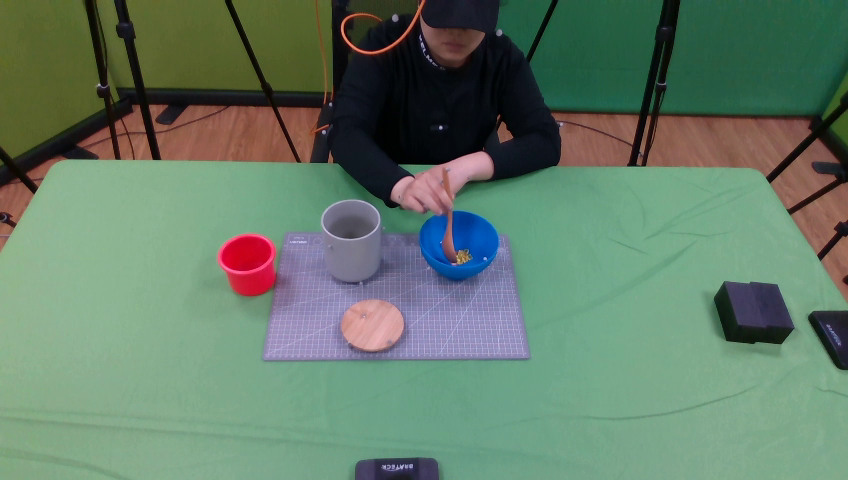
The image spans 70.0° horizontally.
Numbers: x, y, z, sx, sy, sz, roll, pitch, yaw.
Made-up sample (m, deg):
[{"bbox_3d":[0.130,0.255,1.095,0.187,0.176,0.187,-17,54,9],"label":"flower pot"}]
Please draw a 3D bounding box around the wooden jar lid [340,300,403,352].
[{"bbox_3d":[-0.090,0.150,1.046,0.108,0.021,0.107,3,47,-3],"label":"wooden jar lid"}]

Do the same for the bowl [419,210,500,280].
[{"bbox_3d":[0.062,0.022,1.140,0.151,0.077,0.150,2,46,-2],"label":"bowl"}]

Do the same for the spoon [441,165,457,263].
[{"bbox_3d":[0.043,-0.043,1.092,0.022,0.194,0.041,-16,28,-29],"label":"spoon"}]

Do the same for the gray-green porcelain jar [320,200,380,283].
[{"bbox_3d":[-0.132,0.007,1.106,0.106,0.127,0.105,2,46,-2],"label":"gray-green porcelain jar"}]
